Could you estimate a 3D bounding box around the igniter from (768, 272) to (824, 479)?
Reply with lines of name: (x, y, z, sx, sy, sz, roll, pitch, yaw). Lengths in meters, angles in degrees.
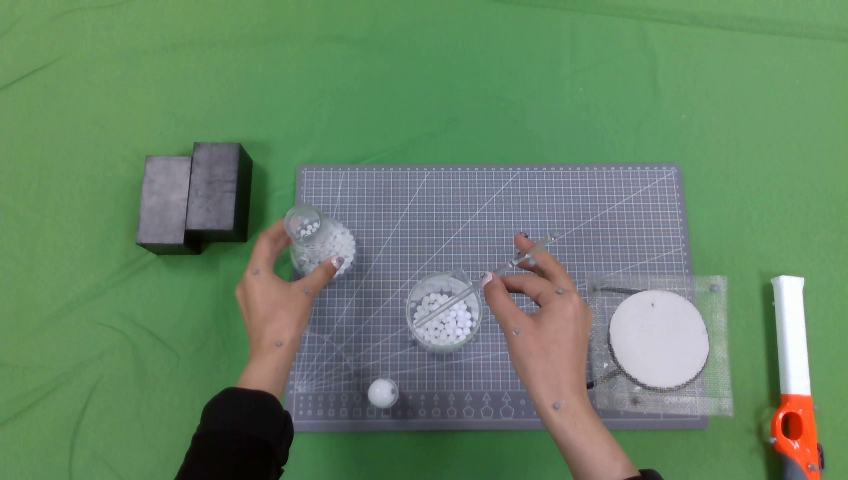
igniter: (0.391, 0.171, 0.641, 0.057, 0.025, 0.275, 7, 76, -10)

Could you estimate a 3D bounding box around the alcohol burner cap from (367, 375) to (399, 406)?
alcohol burner cap: (-0.044, 0.156, 0.630, 0.034, 0.048, 0.033, 0, 75, 1)

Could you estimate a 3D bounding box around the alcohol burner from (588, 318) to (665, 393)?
alcohol burner: (0.207, 0.114, 0.606, 0.078, 0.119, 0.077, 0, 76, 2)

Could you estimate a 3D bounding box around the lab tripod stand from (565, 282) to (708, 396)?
lab tripod stand: (0.206, 0.105, 0.598, 0.148, 0.132, 0.147, 0, 78, 0)

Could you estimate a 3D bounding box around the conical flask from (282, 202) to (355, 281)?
conical flask: (-0.115, -0.004, 0.627, 0.075, 0.122, 0.075, 0, 75, 0)

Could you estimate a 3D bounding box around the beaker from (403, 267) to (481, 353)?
beaker: (0.019, 0.075, 0.621, 0.074, 0.100, 0.083, 22, 76, 5)

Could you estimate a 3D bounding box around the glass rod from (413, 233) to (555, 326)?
glass rod: (0.045, 0.041, 0.534, 0.008, 0.200, 0.008, 19, 53, -27)

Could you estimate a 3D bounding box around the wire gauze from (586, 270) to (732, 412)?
wire gauze: (0.207, 0.087, 0.533, 0.125, 0.011, 0.121, 2, 78, 1)
